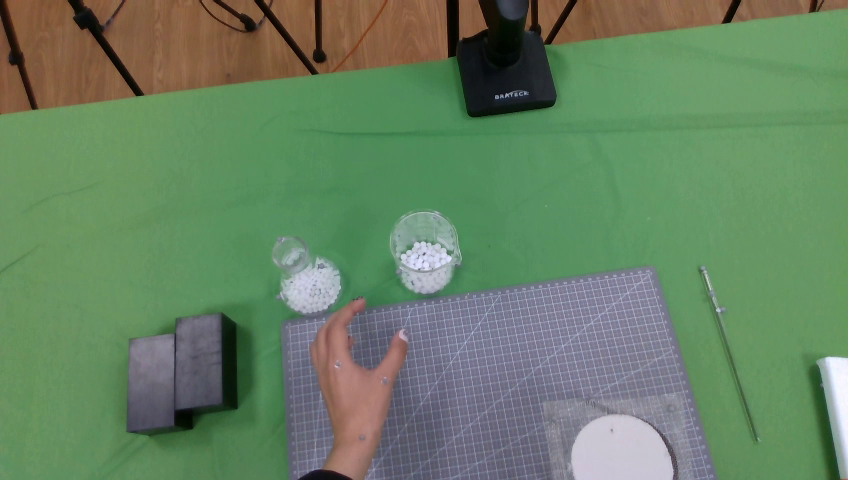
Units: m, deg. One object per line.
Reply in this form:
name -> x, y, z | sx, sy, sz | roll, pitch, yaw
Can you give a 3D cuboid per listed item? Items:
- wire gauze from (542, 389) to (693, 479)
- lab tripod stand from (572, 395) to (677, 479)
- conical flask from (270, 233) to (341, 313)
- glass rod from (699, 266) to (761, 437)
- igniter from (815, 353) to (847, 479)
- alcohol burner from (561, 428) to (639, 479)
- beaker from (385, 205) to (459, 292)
wire gauze -> 0.171, 0.194, 0.525 | 0.125, 0.011, 0.120 | -3, 71, 1
lab tripod stand -> 0.175, 0.220, 0.588 | 0.148, 0.132, 0.147 | 0, 71, 2
conical flask -> -0.137, 0.032, 0.674 | 0.075, 0.122, 0.075 | 0, 69, 1
glass rod -> 0.347, 0.122, 0.690 | 0.008, 0.008, 0.198 | -9, 69, -2
igniter -> 0.447, 0.255, 0.628 | 0.057, 0.025, 0.274 | 6, 69, -8
alcohol burner -> 0.176, 0.224, 0.596 | 0.078, 0.120, 0.077 | -1, 69, 3
beaker -> 0.001, 0.016, 0.690 | 0.083, 0.101, 0.074 | 26, 72, 10
